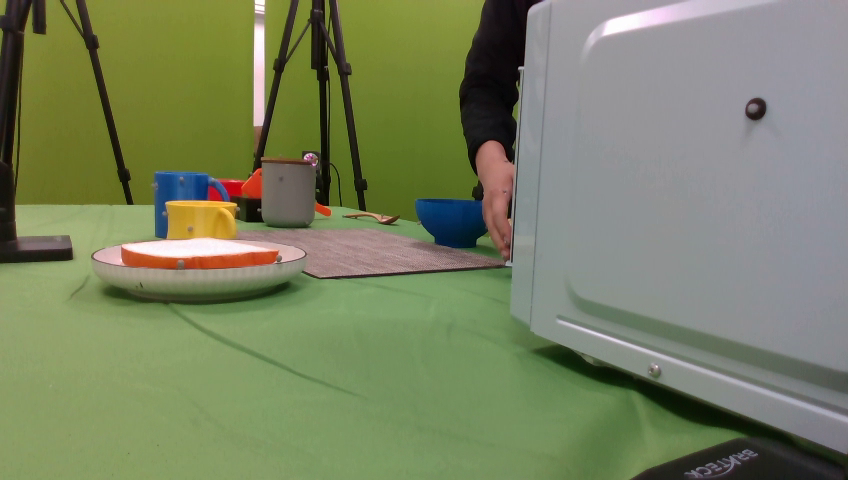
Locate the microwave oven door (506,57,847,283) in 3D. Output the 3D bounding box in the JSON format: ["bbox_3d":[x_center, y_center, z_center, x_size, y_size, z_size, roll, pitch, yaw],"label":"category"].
[{"bbox_3d":[0.279,-0.085,0.705,0.355,0.243,0.039,4,8,16],"label":"microwave oven door"}]

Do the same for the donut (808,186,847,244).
[{"bbox_3d":[0.351,-0.023,0.463,0.099,0.048,0.099,-11,5,1],"label":"donut"}]

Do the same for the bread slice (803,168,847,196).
[{"bbox_3d":[0.363,-0.051,0.454,0.135,0.018,0.106,-10,3,-23],"label":"bread slice"}]

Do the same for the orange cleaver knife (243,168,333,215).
[{"bbox_3d":[-0.300,-0.089,1.351,0.212,0.077,0.012,29,-9,-34],"label":"orange cleaver knife"}]

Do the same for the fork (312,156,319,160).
[{"bbox_3d":[-0.331,-0.144,1.506,0.207,0.018,0.028,-42,-19,22],"label":"fork"}]

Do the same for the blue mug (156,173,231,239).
[{"bbox_3d":[-0.381,-0.057,1.004,0.117,0.106,0.082,0,8,-12],"label":"blue mug"}]

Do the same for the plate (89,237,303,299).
[{"bbox_3d":[-0.233,0.029,0.636,0.208,0.039,0.207,2,7,0],"label":"plate"}]

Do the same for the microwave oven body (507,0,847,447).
[{"bbox_3d":[0.331,-0.042,0.425,0.444,0.260,0.324,-2,8,-31],"label":"microwave oven body"}]

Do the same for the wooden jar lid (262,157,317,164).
[{"bbox_3d":[-0.269,-0.154,1.208,0.108,0.020,0.108,3,4,0],"label":"wooden jar lid"}]

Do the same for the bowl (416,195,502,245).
[{"bbox_3d":[0.059,-0.035,1.049,0.151,0.077,0.151,2,8,0],"label":"bowl"}]

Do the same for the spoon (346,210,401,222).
[{"bbox_3d":[-0.121,-0.060,1.400,0.042,0.021,0.192,-26,24,-38],"label":"spoon"}]

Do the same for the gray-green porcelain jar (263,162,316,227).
[{"bbox_3d":[-0.271,-0.092,1.217,0.106,0.126,0.106,2,7,0],"label":"gray-green porcelain jar"}]

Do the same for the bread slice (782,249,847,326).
[{"bbox_3d":[0.371,0.028,0.476,0.132,0.019,0.104,-28,17,-11],"label":"bread slice"}]

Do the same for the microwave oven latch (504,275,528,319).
[{"bbox_3d":[0.100,0.042,0.470,0.079,0.029,0.030,-1,7,-27],"label":"microwave oven latch"}]

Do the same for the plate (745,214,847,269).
[{"bbox_3d":[0.361,0.002,0.462,0.209,0.038,0.209,2,4,0],"label":"plate"}]

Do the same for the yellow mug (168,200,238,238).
[{"bbox_3d":[-0.320,-0.023,0.904,0.130,0.064,0.100,9,10,36],"label":"yellow mug"}]
